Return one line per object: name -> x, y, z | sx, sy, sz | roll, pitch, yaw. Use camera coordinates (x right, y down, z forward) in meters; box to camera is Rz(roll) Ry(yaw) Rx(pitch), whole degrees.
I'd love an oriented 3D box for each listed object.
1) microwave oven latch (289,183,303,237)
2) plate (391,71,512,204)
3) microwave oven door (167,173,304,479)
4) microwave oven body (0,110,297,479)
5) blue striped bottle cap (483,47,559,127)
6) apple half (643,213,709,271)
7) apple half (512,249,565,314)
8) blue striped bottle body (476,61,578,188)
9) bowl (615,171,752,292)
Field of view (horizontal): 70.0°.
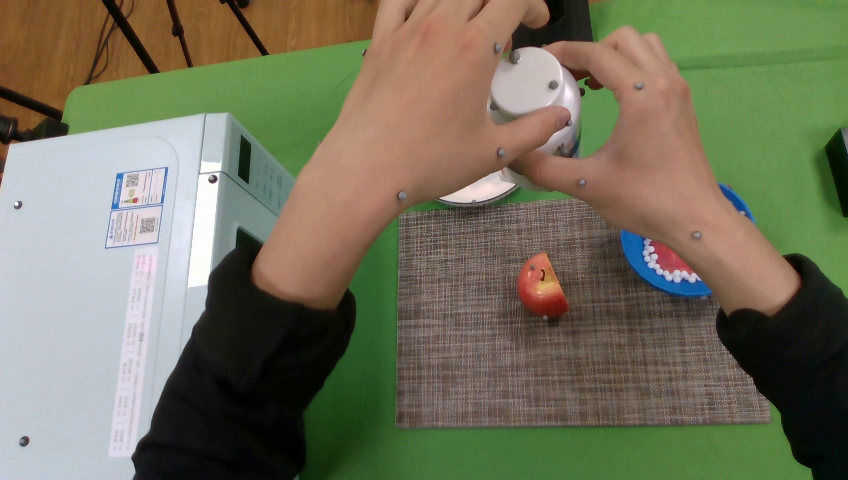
microwave oven latch -> -0.192, -0.043, 0.883 | 0.030, 0.030, 0.078 | -6, 71, 10
plate -> 0.057, -0.145, 0.880 | 0.207, 0.039, 0.206 | -4, 71, 11
microwave oven door -> -0.209, 0.130, 0.719 | 0.039, 0.246, 0.353 | -6, 70, 12
microwave oven body -> -0.352, 0.107, 0.764 | 0.325, 0.262, 0.438 | -6, 71, 10
blue striped bottle cap -> 0.058, -0.092, 0.363 | 0.044, 0.021, 0.044 | -4, 76, 14
apple half -> 0.311, -0.001, 0.742 | 0.081, 0.033, 0.080 | -4, 69, 11
apple half -> 0.140, 0.058, 0.769 | 0.053, 0.075, 0.080 | -24, 72, 8
blue striped bottle body -> 0.072, -0.081, 0.416 | 0.063, 0.121, 0.063 | -3, 78, 15
bowl -> 0.311, -0.001, 0.746 | 0.151, 0.077, 0.150 | -4, 71, 12
